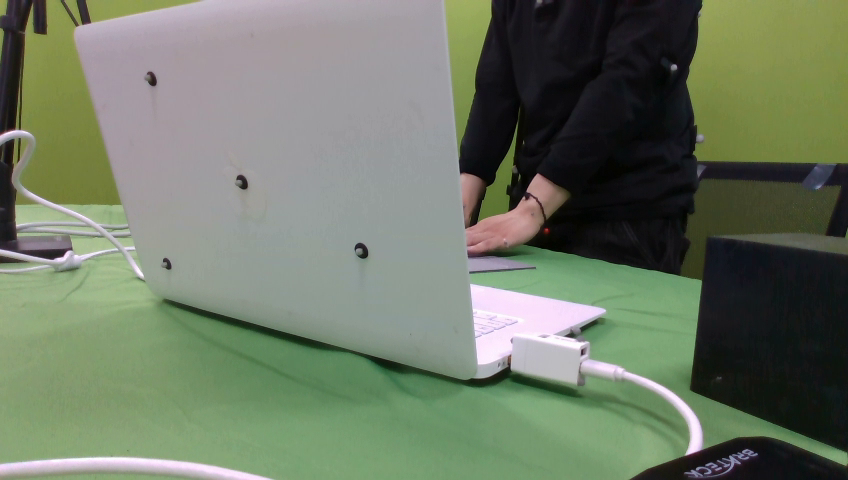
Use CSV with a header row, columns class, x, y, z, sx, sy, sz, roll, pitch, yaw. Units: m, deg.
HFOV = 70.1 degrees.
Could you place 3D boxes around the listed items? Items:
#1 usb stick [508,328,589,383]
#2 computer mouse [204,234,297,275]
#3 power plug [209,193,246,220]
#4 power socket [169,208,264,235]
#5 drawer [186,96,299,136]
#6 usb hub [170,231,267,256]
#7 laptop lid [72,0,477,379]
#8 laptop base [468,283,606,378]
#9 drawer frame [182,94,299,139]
class,x,y,z,sx,sy,sz,roll,pitch,yaw
usb stick,0.072,0.072,0.383,0.059,0.027,0.021,2,2,34
computer mouse,-0.212,0.016,0.747,0.062,0.041,0.117,7,12,22
power plug,-0.388,-0.067,1.205,0.072,0.052,0.035,3,8,26
power socket,-0.381,-0.038,1.128,0.072,0.032,0.227,4,8,16
drawer,-0.415,-0.275,1.370,0.195,0.073,0.210,-4,9,-35
usb hub,-0.290,0.004,0.862,0.049,0.025,0.126,10,11,42
laptop lid,-0.125,-0.042,0.418,0.355,0.241,0.013,9,25,34
laptop base,-0.042,0.058,0.554,0.352,0.023,0.237,7,7,35
drawer frame,-0.418,-0.276,1.371,0.203,0.082,0.212,-4,9,-36
